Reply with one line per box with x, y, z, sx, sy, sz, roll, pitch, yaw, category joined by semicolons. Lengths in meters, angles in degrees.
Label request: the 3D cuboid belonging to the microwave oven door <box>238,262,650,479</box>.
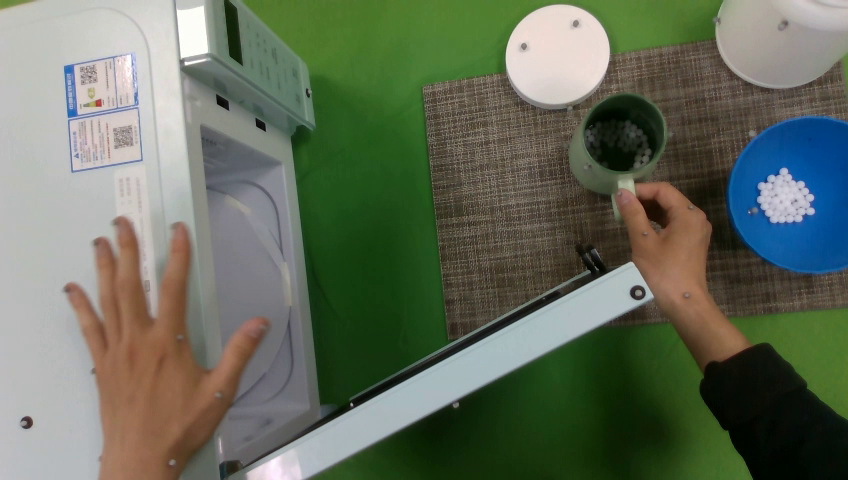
0.023;0.119;0.562;0.356;0.244;0.039;-30;81;7;microwave oven door

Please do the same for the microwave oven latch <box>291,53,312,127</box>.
-0.152;-0.175;0.708;0.030;0.029;0.079;-9;87;9;microwave oven latch

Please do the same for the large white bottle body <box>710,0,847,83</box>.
0.357;-0.240;0.562;0.130;0.185;0.130;-1;83;10;large white bottle body

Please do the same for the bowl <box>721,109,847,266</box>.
0.369;-0.047;0.606;0.151;0.077;0.151;-1;87;11;bowl

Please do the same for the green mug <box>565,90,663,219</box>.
0.197;-0.084;0.624;0.092;0.105;0.125;-8;86;9;green mug

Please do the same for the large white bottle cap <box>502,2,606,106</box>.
0.145;-0.210;0.682;0.114;0.018;0.114;-1;86;10;large white bottle cap

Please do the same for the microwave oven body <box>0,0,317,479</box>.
-0.292;0.015;0.625;0.325;0.261;0.441;-8;87;9;microwave oven body
